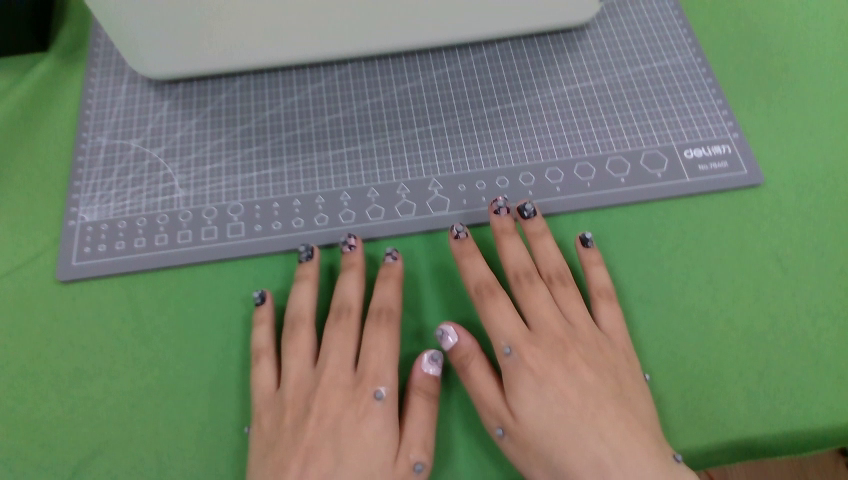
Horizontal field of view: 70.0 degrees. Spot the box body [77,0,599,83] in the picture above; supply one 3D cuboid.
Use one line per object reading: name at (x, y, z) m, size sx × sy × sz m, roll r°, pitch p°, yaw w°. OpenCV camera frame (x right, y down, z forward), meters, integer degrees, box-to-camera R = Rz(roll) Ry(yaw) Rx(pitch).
box body at (-0.058, -0.269, 0.426) m, size 0.364 × 0.161 × 0.252 m, roll -9°, pitch 63°, yaw -5°
